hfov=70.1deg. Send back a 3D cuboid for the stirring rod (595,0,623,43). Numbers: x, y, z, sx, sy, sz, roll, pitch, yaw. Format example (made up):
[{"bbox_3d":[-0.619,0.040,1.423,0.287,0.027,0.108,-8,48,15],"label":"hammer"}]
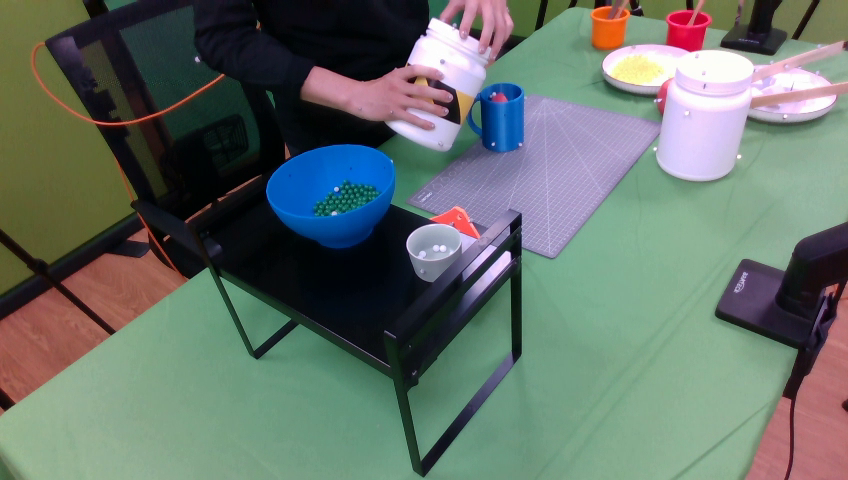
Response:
[{"bbox_3d":[0.460,-0.556,1.459,0.014,0.006,0.176,30,93,23],"label":"stirring rod"}]

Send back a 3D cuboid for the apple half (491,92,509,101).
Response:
[{"bbox_3d":[0.141,-0.239,1.158,0.033,0.081,0.080,-13,40,-16],"label":"apple half"}]

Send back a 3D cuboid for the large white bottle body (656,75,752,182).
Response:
[{"bbox_3d":[0.472,-0.207,1.022,0.130,0.185,0.130,-4,41,4],"label":"large white bottle body"}]

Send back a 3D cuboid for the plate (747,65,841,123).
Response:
[{"bbox_3d":[0.695,-0.283,1.189,0.207,0.039,0.206,-4,40,4],"label":"plate"}]

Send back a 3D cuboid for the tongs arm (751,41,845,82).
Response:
[{"bbox_3d":[0.708,-0.331,1.193,0.386,0.026,0.050,-19,45,-16],"label":"tongs arm"}]

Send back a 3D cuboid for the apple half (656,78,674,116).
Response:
[{"bbox_3d":[0.488,-0.281,1.192,0.053,0.075,0.081,24,53,37],"label":"apple half"}]

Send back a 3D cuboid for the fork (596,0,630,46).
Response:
[{"bbox_3d":[0.481,-0.556,1.452,0.028,0.019,0.207,40,103,40],"label":"fork"}]

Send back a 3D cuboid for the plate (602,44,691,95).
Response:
[{"bbox_3d":[0.495,-0.367,1.317,0.209,0.038,0.208,-4,40,4],"label":"plate"}]

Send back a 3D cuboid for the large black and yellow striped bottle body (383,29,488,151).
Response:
[{"bbox_3d":[0.025,-0.259,1.027,0.131,0.184,0.130,25,17,-8],"label":"large black and yellow striped bottle body"}]

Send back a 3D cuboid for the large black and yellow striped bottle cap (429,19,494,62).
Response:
[{"bbox_3d":[0.062,-0.331,1.002,0.115,0.019,0.114,27,17,-8],"label":"large black and yellow striped bottle cap"}]

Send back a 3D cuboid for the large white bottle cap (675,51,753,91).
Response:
[{"bbox_3d":[0.463,-0.271,0.967,0.115,0.018,0.114,-4,40,3],"label":"large white bottle cap"}]

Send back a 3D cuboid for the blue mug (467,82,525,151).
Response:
[{"bbox_3d":[0.138,-0.241,1.169,0.116,0.106,0.082,11,44,21],"label":"blue mug"}]

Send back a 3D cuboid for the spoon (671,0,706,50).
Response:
[{"bbox_3d":[0.629,-0.520,1.394,0.041,0.022,0.193,30,96,34],"label":"spoon"}]

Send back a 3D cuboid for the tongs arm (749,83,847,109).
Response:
[{"bbox_3d":[0.735,-0.280,1.134,0.388,0.028,0.028,-9,47,-5],"label":"tongs arm"}]

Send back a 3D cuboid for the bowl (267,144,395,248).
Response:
[{"bbox_3d":[-0.104,-0.043,0.726,0.151,0.077,0.150,-4,40,4],"label":"bowl"}]

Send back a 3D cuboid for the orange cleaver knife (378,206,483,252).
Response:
[{"bbox_3d":[0.005,-0.010,0.944,0.210,0.077,0.012,-5,23,47],"label":"orange cleaver knife"}]

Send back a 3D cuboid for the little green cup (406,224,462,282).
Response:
[{"bbox_3d":[0.012,0.015,0.668,0.061,0.039,0.061,-4,40,4],"label":"little green cup"}]
